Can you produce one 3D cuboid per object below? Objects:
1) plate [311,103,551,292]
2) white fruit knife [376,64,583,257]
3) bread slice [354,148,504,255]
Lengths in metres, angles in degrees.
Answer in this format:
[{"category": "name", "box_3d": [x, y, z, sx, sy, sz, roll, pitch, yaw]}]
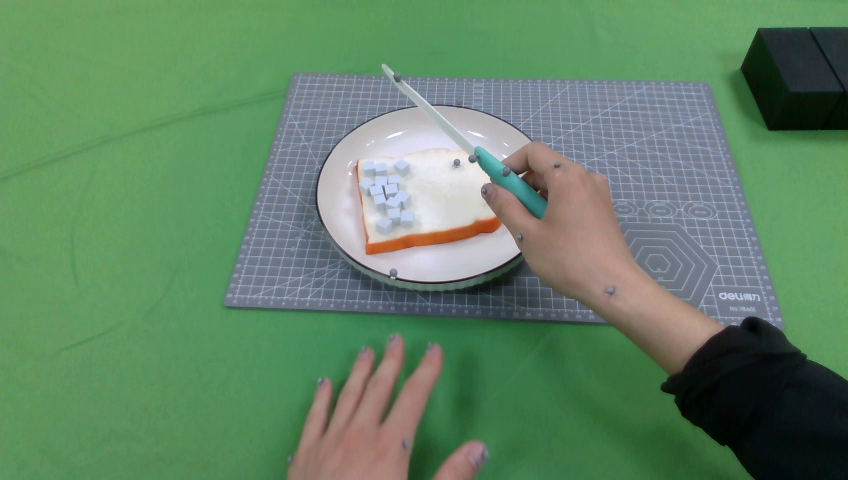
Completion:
[{"category": "plate", "box_3d": [0.006, -0.039, 0.537, 0.209, 0.038, 0.207, 0, 54, 1]}, {"category": "white fruit knife", "box_3d": [0.041, -0.060, 0.451, 0.207, 0.027, 0.016, 42, 79, 1]}, {"category": "bread slice", "box_3d": [0.004, -0.042, 0.543, 0.132, 0.019, 0.104, -10, 55, -5]}]
